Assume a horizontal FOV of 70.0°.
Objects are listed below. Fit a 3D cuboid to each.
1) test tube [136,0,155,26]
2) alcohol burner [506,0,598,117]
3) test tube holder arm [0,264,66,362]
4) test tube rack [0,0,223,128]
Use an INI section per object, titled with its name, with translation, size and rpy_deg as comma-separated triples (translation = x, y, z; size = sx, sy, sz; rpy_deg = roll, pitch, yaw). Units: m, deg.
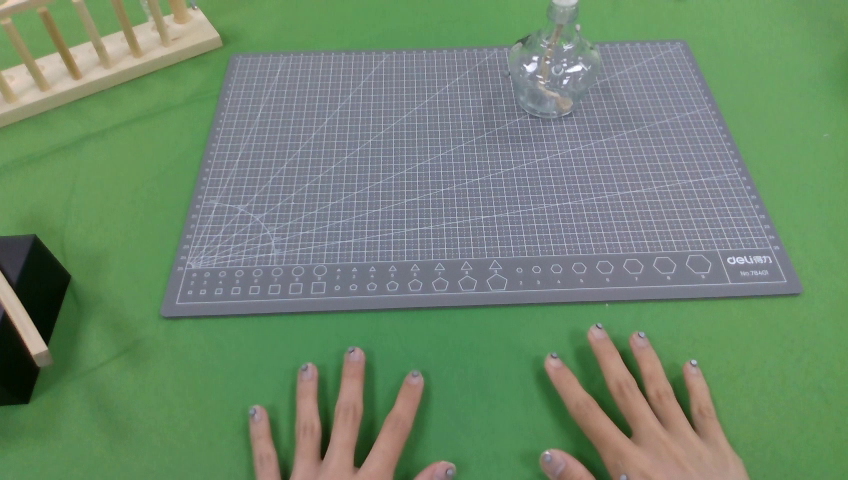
[test tube]
translation = -0.276, -0.262, 0.548
size = 0.017, 0.152, 0.017
rpy_deg = -4, 52, 5
[alcohol burner]
translation = 0.110, -0.164, 0.507
size = 0.078, 0.120, 0.077
rpy_deg = 0, 51, 1
[test tube holder arm]
translation = -0.275, 0.017, 0.383
size = 0.177, 0.015, 0.013
rpy_deg = 36, 54, 23
[test tube rack]
translation = -0.323, -0.188, 0.556
size = 0.242, 0.086, 0.066
rpy_deg = -28, 57, -19
